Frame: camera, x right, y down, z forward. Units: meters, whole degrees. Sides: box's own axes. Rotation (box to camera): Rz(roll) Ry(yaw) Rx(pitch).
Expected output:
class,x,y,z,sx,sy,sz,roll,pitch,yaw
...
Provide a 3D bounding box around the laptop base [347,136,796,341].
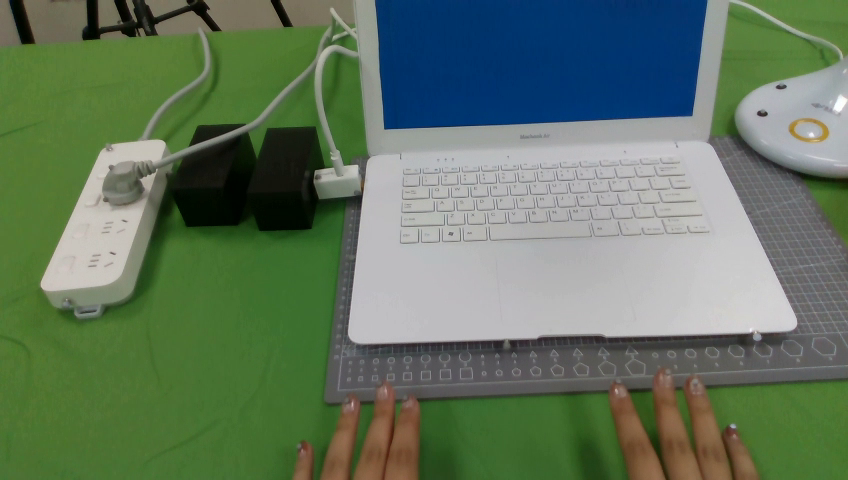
class,x,y,z,sx,sy,sz,roll,pitch,yaw
laptop base,0.115,-0.009,0.552,0.354,0.023,0.233,-2,50,2

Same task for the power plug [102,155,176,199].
class,x,y,z,sx,sy,sz,roll,pitch,yaw
power plug,-0.271,-0.053,0.579,0.072,0.053,0.035,3,47,6

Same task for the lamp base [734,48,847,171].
class,x,y,z,sx,sy,sz,roll,pitch,yaw
lamp base,0.414,-0.187,0.587,0.159,0.182,0.179,27,50,27

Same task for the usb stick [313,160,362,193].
class,x,y,z,sx,sy,sz,roll,pitch,yaw
usb stick,-0.078,-0.063,0.600,0.059,0.027,0.021,-3,48,2

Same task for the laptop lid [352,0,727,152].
class,x,y,z,sx,sy,sz,roll,pitch,yaw
laptop lid,0.109,-0.200,0.581,0.357,0.243,0.013,-3,26,2

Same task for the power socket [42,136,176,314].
class,x,y,z,sx,sy,sz,roll,pitch,yaw
power socket,-0.298,-0.027,0.588,0.072,0.033,0.224,-5,46,-2
